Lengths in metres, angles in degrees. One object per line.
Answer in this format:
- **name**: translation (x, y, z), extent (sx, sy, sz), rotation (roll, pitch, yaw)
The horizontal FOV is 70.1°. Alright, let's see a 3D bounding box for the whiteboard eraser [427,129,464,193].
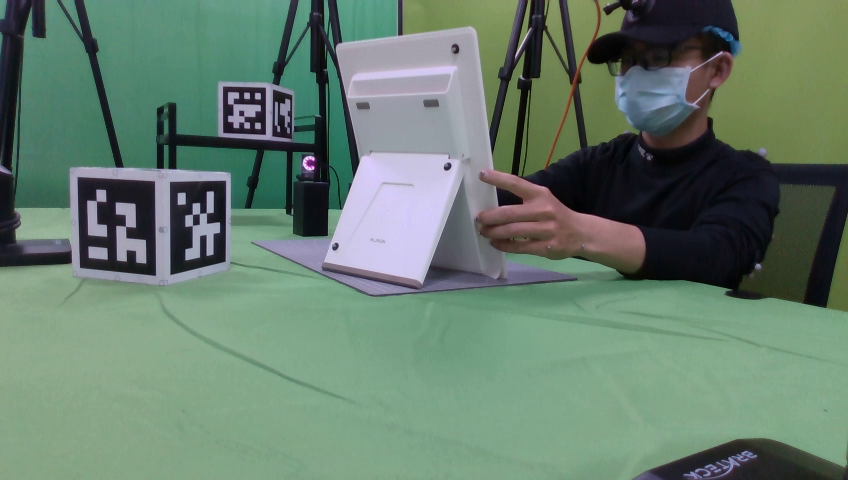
- **whiteboard eraser**: translation (0.028, -0.102, 0.787), extent (0.041, 0.101, 0.019), rotation (30, 55, 16)

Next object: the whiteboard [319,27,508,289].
- **whiteboard**: translation (-0.046, -0.076, 0.721), extent (0.216, 0.305, 0.144), rotation (9, 29, 38)
